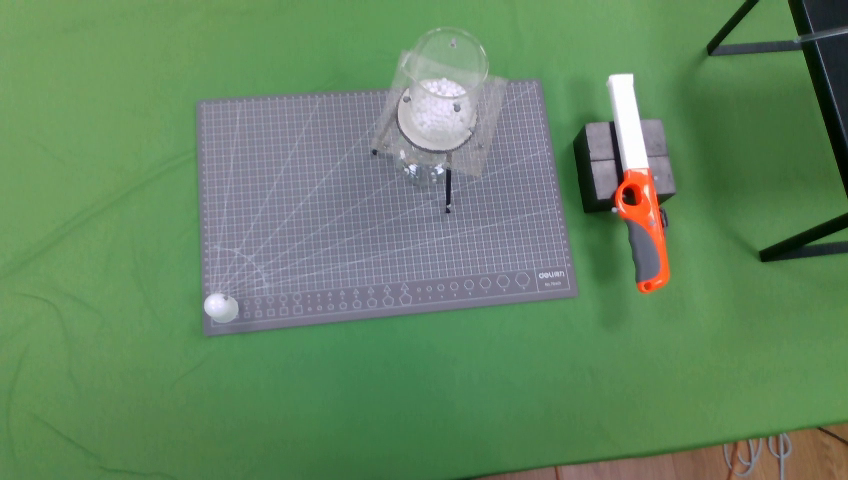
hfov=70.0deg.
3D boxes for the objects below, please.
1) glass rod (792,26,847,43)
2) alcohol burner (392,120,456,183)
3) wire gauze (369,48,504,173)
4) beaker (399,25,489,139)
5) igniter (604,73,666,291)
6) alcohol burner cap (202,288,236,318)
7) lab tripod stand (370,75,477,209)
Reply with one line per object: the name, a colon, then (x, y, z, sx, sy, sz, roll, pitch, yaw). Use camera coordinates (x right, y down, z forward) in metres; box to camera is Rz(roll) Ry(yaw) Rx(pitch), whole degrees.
glass rod: (0.494, -0.238, 0.665, 0.200, 0.008, 0.008, -14, 77, -8)
alcohol burner: (0.001, -0.112, 0.719, 0.078, 0.119, 0.077, 1, 77, -4)
wire gauze: (0.016, -0.139, 0.650, 0.121, 0.011, 0.124, 17, 71, -3)
beaker: (0.016, -0.151, 0.602, 0.084, 0.100, 0.073, -5, 74, -5)
igniter: (0.253, -0.075, 0.731, 0.057, 0.025, 0.275, -3, 75, -3)
alcohol burner cap: (-0.236, 0.070, 0.689, 0.034, 0.048, 0.033, 2, 75, -5)
lab tripod stand: (0.009, -0.125, 0.713, 0.148, 0.132, 0.147, 1, 73, -4)
